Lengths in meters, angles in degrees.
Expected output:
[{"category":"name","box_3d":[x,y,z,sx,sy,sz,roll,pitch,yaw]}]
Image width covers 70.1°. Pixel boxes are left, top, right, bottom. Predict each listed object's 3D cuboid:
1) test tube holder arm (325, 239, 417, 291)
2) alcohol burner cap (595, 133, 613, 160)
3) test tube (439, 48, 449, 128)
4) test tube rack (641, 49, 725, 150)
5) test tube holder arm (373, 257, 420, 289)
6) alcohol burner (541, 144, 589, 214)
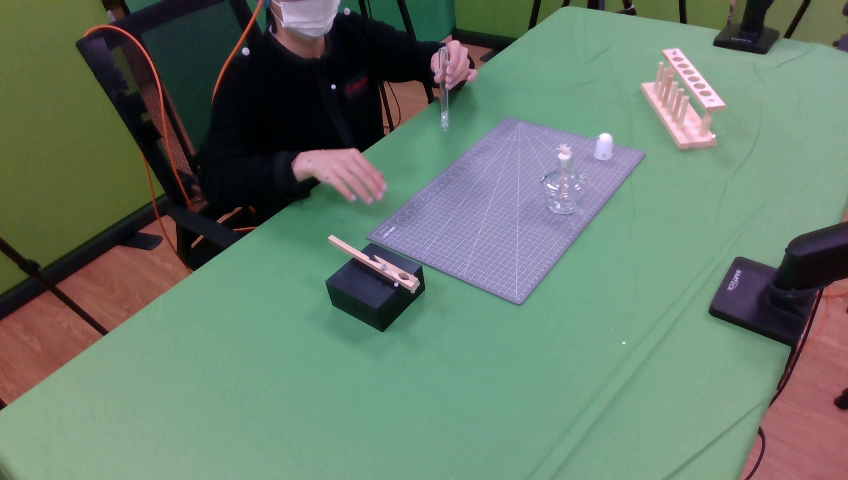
[{"category":"test tube holder arm","box_3d":[-0.080,0.034,0.875,0.177,0.015,0.013,22,50,32]},{"category":"alcohol burner cap","box_3d":[0.330,-0.172,1.104,0.034,0.048,0.033,-5,41,5]},{"category":"test tube","box_3d":[0.035,-0.263,1.063,0.017,0.151,0.017,-1,42,2]},{"category":"test tube rack","box_3d":[0.495,-0.279,1.175,0.067,0.085,0.241,-5,41,3]},{"category":"test tube holder arm","box_3d":[-0.042,0.045,0.854,0.087,0.015,0.010,24,51,33]},{"category":"alcohol burner","box_3d":[0.229,-0.102,0.983,0.078,0.119,0.077,-6,41,5]}]
